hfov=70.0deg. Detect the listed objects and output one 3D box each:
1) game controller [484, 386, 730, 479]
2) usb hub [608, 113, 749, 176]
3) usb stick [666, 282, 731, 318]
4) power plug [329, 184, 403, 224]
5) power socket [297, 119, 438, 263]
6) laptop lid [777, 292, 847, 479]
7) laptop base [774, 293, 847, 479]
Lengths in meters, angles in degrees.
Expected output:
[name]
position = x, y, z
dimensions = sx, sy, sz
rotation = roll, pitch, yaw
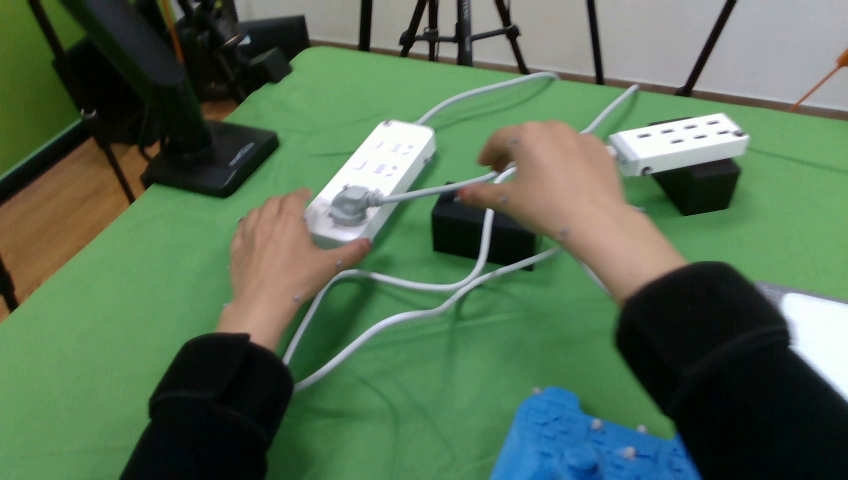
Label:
[game controller]
position = 0.125, 0.155, 0.405
dimensions = 0.154, 0.052, 0.096
rotation = 15, 42, 17
[usb hub]
position = 0.253, -0.095, 0.604
dimensions = 0.125, 0.025, 0.049
rotation = -12, 45, -7
[usb stick]
position = 0.239, 0.051, 0.517
dimensions = 0.059, 0.027, 0.021
rotation = 5, 24, -21
[power plug]
position = -0.058, -0.024, 0.579
dimensions = 0.072, 0.053, 0.035
rotation = 26, 50, 24
[power socket]
position = -0.055, -0.062, 0.653
dimensions = 0.072, 0.033, 0.225
rotation = 17, 47, 18
[laptop lid]
position = 0.419, 0.159, 0.387
dimensions = 0.355, 0.013, 0.240
rotation = 15, 49, 18
[laptop base]
position = 0.421, 0.166, 0.397
dimensions = 0.353, 0.023, 0.234
rotation = 14, 50, 17
